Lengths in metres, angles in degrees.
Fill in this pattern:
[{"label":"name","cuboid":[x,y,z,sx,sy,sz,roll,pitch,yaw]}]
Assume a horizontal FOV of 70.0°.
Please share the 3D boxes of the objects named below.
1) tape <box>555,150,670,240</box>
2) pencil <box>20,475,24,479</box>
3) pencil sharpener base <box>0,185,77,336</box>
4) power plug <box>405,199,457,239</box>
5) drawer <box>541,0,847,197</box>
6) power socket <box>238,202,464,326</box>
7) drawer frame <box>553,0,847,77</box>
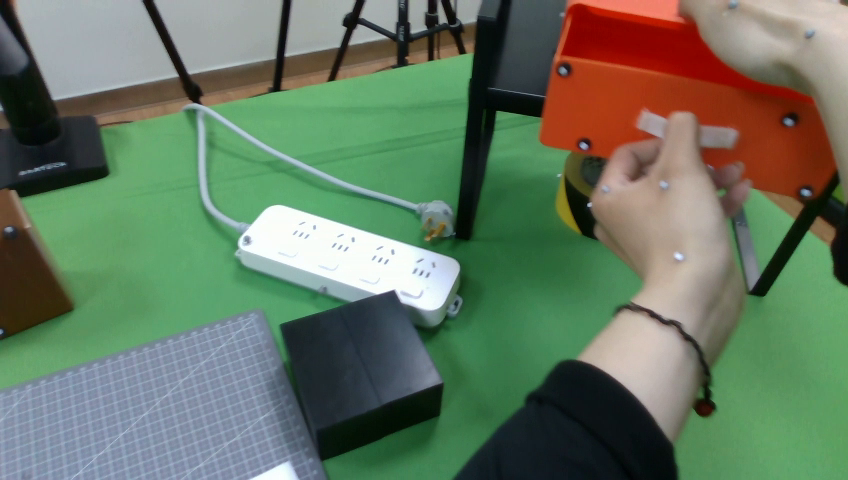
[{"label":"tape","cuboid":[0.206,-0.057,0.663,0.117,0.053,0.115,2,46,-2]},{"label":"pencil","cuboid":[-0.255,0.233,0.372,0.012,0.012,0.192,-13,47,-16]},{"label":"pencil sharpener base","cuboid":[-0.355,0.021,0.508,0.077,0.108,0.061,-27,54,-27]},{"label":"power plug","cuboid":[0.003,-0.019,0.638,0.072,0.035,0.052,-12,27,42]},{"label":"drawer","cuboid":[0.206,-0.140,0.474,0.194,0.074,0.210,13,45,9]},{"label":"power socket","cuboid":[-0.070,0.020,0.582,0.226,0.033,0.072,17,46,13]},{"label":"drawer frame","cuboid":[0.229,-0.203,0.535,0.201,0.083,0.212,12,46,8]}]
